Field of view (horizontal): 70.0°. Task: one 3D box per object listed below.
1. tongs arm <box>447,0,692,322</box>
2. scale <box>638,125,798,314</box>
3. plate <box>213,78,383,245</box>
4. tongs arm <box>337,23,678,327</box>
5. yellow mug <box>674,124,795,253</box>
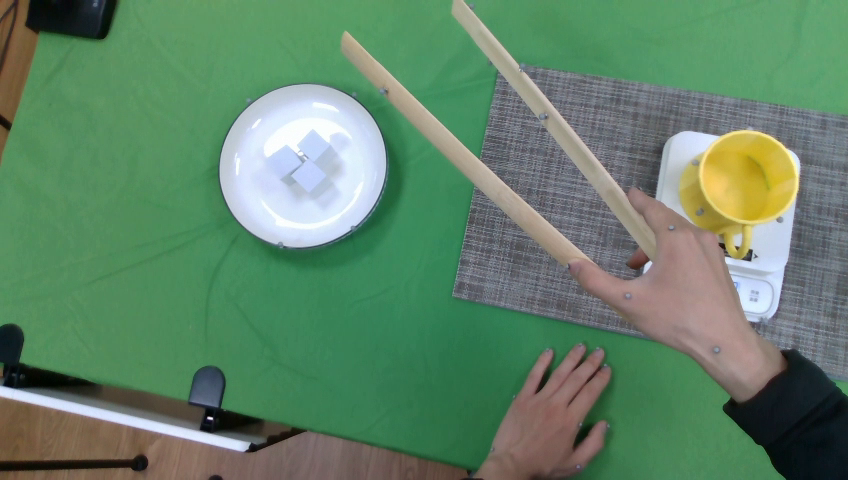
[{"bbox_3d":[0.111,-0.095,0.550,0.051,0.027,0.382,-25,68,-26],"label":"tongs arm"},{"bbox_3d":[0.333,-0.025,0.689,0.148,0.032,0.200,11,83,7],"label":"scale"},{"bbox_3d":[-0.151,-0.094,0.744,0.207,0.039,0.207,-1,82,5],"label":"plate"},{"bbox_3d":[0.053,-0.064,0.518,0.028,0.028,0.385,-35,72,-33],"label":"tongs arm"},{"bbox_3d":[0.329,-0.051,0.646,0.100,0.064,0.130,1,83,4],"label":"yellow mug"}]
